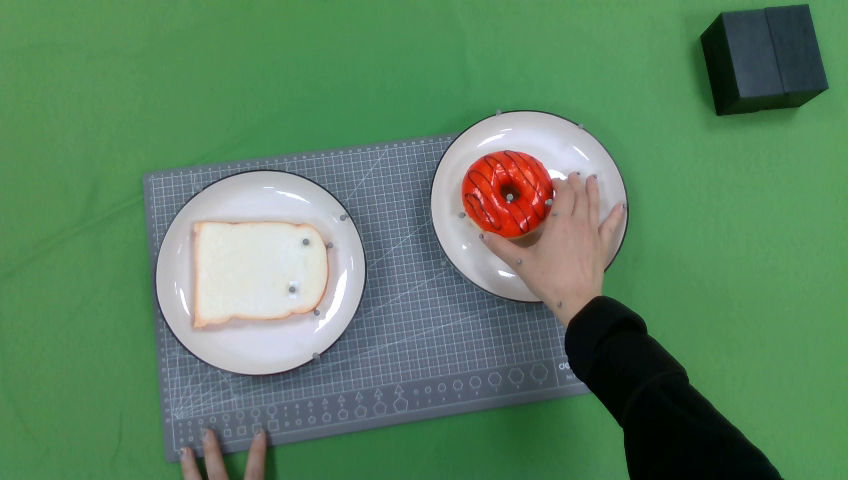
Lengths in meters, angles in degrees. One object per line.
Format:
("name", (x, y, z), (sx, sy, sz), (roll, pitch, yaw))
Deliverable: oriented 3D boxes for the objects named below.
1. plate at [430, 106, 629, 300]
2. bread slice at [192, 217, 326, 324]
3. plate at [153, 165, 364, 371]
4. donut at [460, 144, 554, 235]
("plate", (0.109, -0.039, 0.642), (0.208, 0.039, 0.207), (1, 80, -3))
("bread slice", (-0.168, 0.025, 0.619), (0.134, 0.018, 0.106), (-6, 81, -4))
("plate", (-0.164, 0.029, 0.617), (0.209, 0.038, 0.208), (1, 80, -3))
("donut", (0.086, -0.053, 0.631), (0.099, 0.048, 0.098), (0, 76, 0))
